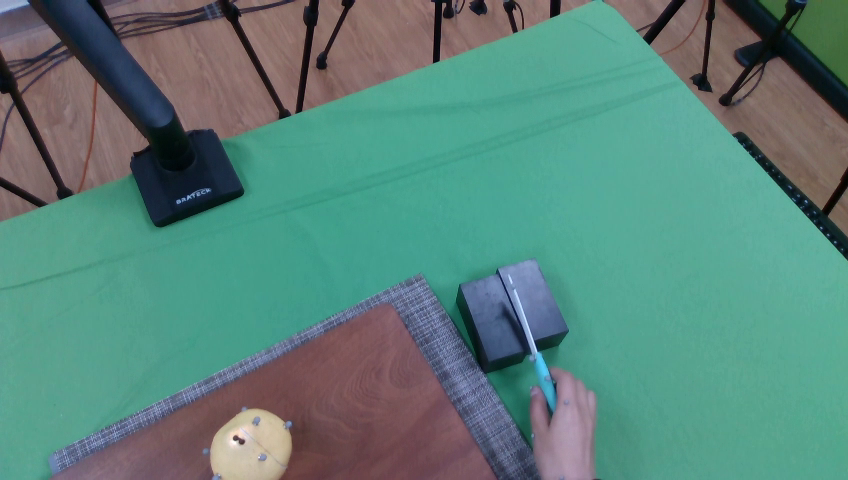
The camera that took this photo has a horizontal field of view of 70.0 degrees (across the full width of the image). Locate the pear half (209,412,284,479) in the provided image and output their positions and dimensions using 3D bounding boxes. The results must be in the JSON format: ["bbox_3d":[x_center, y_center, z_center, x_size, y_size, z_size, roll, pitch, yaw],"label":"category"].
[{"bbox_3d":[-0.178,0.204,0.581,0.076,0.110,0.056,34,65,18],"label":"pear half"}]

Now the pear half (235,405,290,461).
[{"bbox_3d":[-0.156,0.186,0.603,0.070,0.089,0.031,33,65,19],"label":"pear half"}]

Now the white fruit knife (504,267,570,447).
[{"bbox_3d":[0.122,0.129,0.671,0.016,0.027,0.206,-17,82,-10],"label":"white fruit knife"}]
